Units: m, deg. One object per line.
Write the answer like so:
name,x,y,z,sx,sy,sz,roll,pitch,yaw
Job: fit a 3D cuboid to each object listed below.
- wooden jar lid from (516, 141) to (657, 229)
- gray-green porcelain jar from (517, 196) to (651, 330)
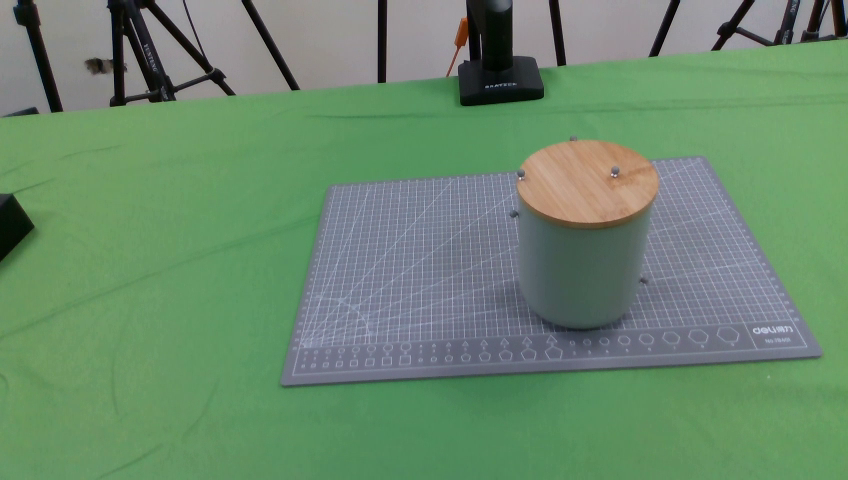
wooden jar lid,0.127,-0.041,0.482,0.108,0.021,0.107,-5,41,5
gray-green porcelain jar,0.134,0.006,0.522,0.106,0.128,0.105,-5,40,4
